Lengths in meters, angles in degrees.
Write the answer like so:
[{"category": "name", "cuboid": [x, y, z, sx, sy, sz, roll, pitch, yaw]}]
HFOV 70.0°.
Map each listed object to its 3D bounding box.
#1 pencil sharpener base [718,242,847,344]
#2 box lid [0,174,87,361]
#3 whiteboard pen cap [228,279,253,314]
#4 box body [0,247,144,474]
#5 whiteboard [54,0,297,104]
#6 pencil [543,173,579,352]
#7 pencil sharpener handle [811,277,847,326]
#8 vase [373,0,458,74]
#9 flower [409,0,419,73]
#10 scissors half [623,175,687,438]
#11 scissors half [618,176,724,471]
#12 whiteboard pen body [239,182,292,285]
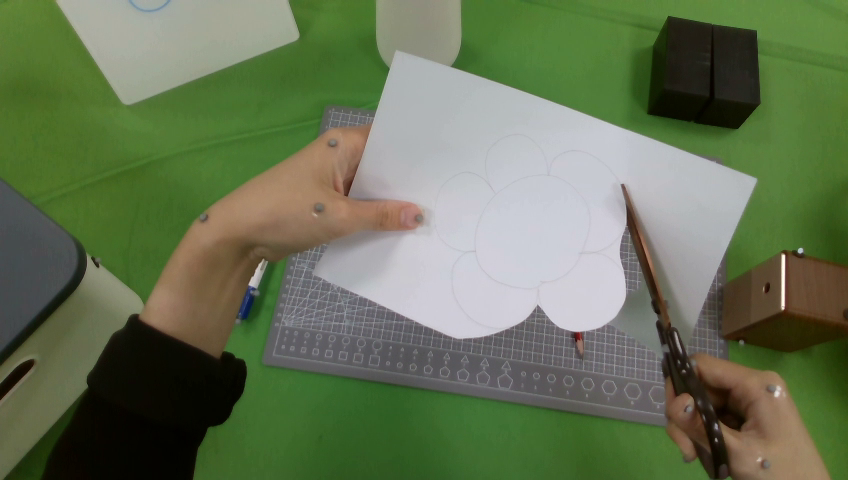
[{"category": "pencil sharpener base", "cuboid": [0.337, 0.053, 0.565, 0.077, 0.107, 0.061, 12, 69, 0]}, {"category": "box lid", "cuboid": [-0.472, 0.006, 0.458, 0.370, 0.015, 0.262, 34, 72, 11]}, {"category": "whiteboard pen cap", "cuboid": [-0.180, 0.055, 0.600, 0.018, 0.018, 0.033, 14, 65, 5]}, {"category": "box body", "cuboid": [-0.471, 0.034, 0.527, 0.362, 0.161, 0.253, 34, 73, 11]}, {"category": "whiteboard", "cuboid": [-0.296, -0.340, 0.627, 0.217, 0.308, 0.142, -25, 52, -9]}, {"category": "pencil", "cuboid": [0.142, 0.020, 0.625, 0.012, 0.012, 0.192, -5, 71, -3]}, {"category": "pencil sharpener handle", "cuboid": [0.387, 0.061, 0.553, 0.030, 0.068, 0.035, 12, 63, 1]}, {"category": "vase", "cuboid": [-0.010, -0.265, 0.629, 0.098, 0.201, 0.097, 0, 68, 0]}, {"category": "flower", "cuboid": [-0.015, -0.309, 0.557, 0.044, 0.365, 0.038, 1, 51, 3]}, {"category": "scissors half", "cuboid": [0.141, 0.043, 0.365, 0.013, 0.040, 0.176, -16, 109, 10]}, {"category": "scissors half", "cuboid": [0.139, 0.047, 0.344, 0.013, 0.040, 0.175, -17, 86, 5]}, {"category": "whiteboard pen body", "cuboid": [-0.166, 0.003, 0.622, 0.017, 0.017, 0.140, 15, 68, 5]}]
